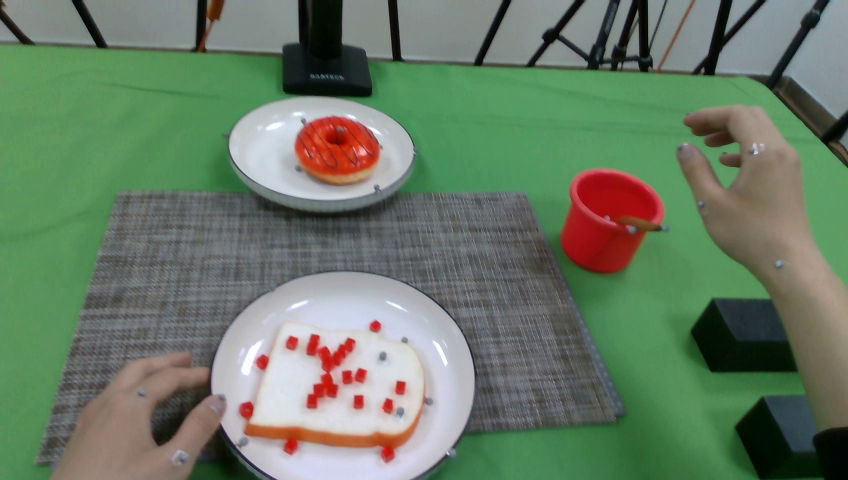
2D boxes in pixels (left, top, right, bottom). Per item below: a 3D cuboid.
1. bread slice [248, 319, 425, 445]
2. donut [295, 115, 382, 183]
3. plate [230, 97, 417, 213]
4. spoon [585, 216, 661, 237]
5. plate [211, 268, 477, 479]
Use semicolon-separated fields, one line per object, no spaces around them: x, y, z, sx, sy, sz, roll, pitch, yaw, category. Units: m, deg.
-0.064;0.113;0.491;0.131;0.019;0.104;8;44;-2;bread slice
-0.097;-0.103;0.690;0.099;0.048;0.098;7;44;-6;donut
-0.113;-0.096;0.696;0.208;0.039;0.205;6;42;-5;plate
0.196;-0.015;0.601;0.041;0.021;0.194;15;0;2;spoon
-0.062;0.109;0.491;0.209;0.038;0.207;6;44;-5;plate
